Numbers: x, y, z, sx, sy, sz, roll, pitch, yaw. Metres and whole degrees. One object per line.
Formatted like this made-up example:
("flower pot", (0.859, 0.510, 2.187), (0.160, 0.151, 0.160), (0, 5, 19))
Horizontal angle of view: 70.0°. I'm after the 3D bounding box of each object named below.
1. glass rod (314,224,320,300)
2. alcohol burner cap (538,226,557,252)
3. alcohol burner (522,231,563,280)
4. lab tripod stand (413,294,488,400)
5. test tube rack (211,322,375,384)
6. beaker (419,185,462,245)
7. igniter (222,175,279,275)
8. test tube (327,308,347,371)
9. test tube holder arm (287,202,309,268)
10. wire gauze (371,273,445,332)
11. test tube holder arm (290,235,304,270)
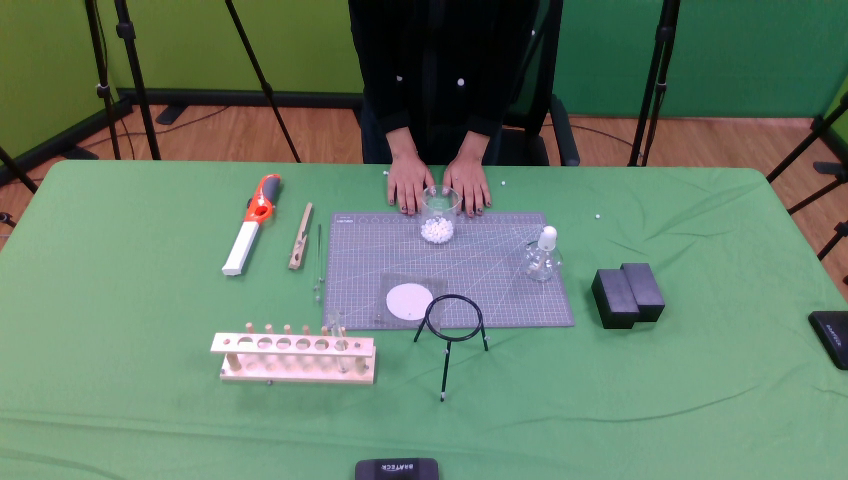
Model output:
("glass rod", (-0.204, 0.038, 1.156), (0.008, 0.008, 0.198), (-2, 44, -6))
("alcohol burner cap", (0.226, -0.004, 1.104), (0.034, 0.048, 0.033), (-1, 50, 1))
("alcohol burner", (0.224, 0.020, 1.131), (0.078, 0.119, 0.077), (4, 46, -4))
("lab tripod stand", (0.044, 0.159, 0.972), (0.148, 0.132, 0.147), (2, 44, -2))
("test tube rack", (-0.203, 0.176, 0.969), (0.242, 0.085, 0.066), (3, 46, -2))
("beaker", (0.029, -0.047, 1.191), (0.084, 0.101, 0.073), (-5, 47, -10))
("igniter", (-0.341, -0.039, 1.206), (0.057, 0.025, 0.275), (-1, 45, 9))
("test tube", (-0.132, 0.155, 0.926), (0.017, 0.151, 0.017), (0, 45, 0))
("test tube holder arm", (-0.247, -0.013, 1.193), (0.013, 0.015, 0.177), (29, 39, -26))
("wire gauze", (-0.028, 0.109, 1.100), (0.125, 0.011, 0.121), (7, 45, 4))
("test tube holder arm", (-0.243, 0.021, 1.164), (0.010, 0.015, 0.087), (29, 39, -26))
